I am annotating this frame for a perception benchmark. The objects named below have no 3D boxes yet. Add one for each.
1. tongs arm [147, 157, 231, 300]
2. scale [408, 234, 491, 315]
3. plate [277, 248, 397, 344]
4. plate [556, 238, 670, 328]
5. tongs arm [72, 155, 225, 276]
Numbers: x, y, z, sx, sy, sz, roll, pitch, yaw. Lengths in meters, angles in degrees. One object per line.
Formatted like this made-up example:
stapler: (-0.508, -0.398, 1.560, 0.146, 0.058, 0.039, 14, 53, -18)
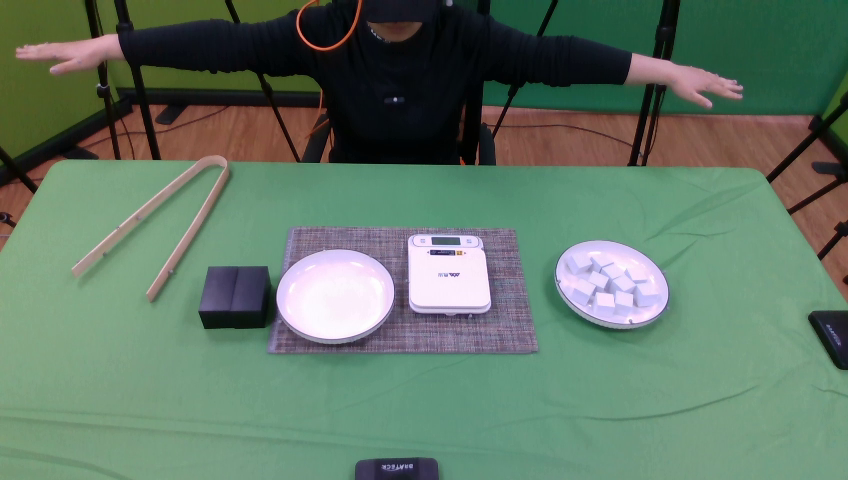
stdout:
tongs arm: (-0.453, -0.036, 1.193, 0.028, 0.028, 0.385, 6, 46, 6)
scale: (0.045, 0.055, 1.135, 0.149, 0.032, 0.199, 1, 46, -3)
plate: (-0.152, 0.101, 1.073, 0.208, 0.039, 0.206, 2, 46, -2)
plate: (0.347, 0.083, 1.130, 0.209, 0.038, 0.208, 2, 47, -2)
tongs arm: (-0.531, -0.058, 1.204, 0.050, 0.026, 0.383, 18, 47, 13)
